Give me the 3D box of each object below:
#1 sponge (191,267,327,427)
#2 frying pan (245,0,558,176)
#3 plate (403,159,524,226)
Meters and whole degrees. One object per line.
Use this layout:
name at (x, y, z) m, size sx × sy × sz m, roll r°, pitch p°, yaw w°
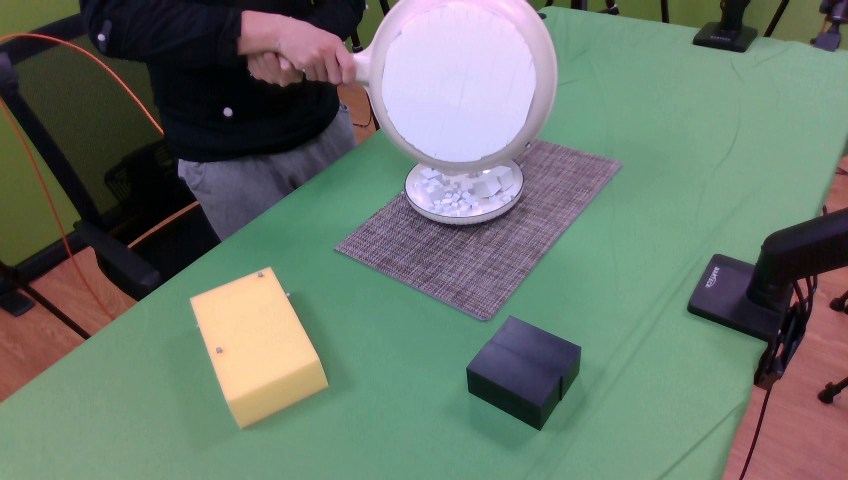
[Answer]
sponge at (-0.226, 0.135, 0.814) m, size 0.119 × 0.061 × 0.205 m, roll -23°, pitch 43°, yaw -19°
frying pan at (-0.047, -0.254, 0.919) m, size 0.486 × 0.307 × 0.103 m, roll 11°, pitch 23°, yaw 12°
plate at (0.069, -0.089, 1.044) m, size 0.207 × 0.039 × 0.206 m, roll -4°, pitch 40°, yaw 4°
